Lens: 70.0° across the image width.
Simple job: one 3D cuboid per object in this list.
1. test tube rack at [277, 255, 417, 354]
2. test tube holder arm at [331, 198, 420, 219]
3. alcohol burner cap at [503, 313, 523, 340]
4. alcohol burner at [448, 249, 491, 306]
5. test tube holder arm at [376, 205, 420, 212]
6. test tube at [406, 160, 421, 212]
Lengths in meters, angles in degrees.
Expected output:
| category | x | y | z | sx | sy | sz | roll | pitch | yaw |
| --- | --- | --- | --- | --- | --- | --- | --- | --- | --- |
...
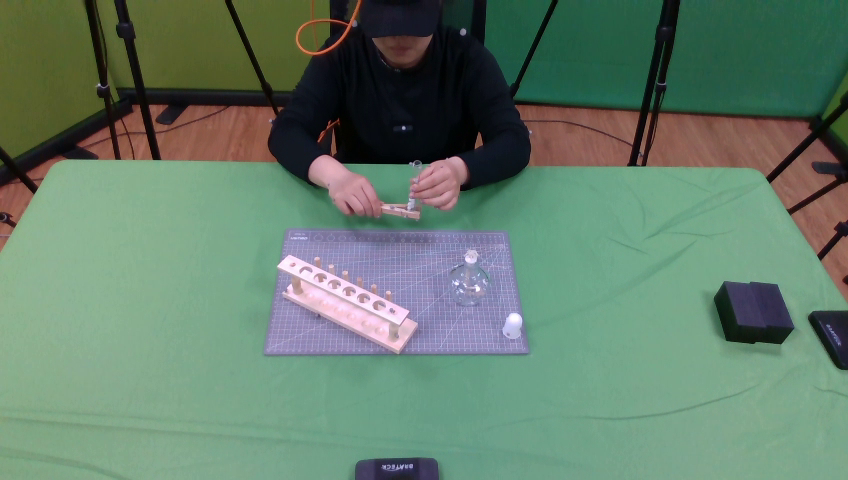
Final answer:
| category | x | y | z | sx | sy | sz | roll | pitch | yaw |
| --- | --- | --- | --- | --- | --- | --- | --- | --- | --- |
| test tube rack | -0.131 | 0.099 | 1.045 | 0.241 | 0.085 | 0.066 | 23 | 49 | 17 |
| test tube holder arm | -0.096 | -0.062 | 1.187 | 0.178 | 0.015 | 0.013 | 8 | 40 | 8 |
| alcohol burner cap | 0.156 | 0.148 | 1.051 | 0.034 | 0.048 | 0.033 | 1 | 45 | -1 |
| alcohol burner | 0.081 | 0.062 | 1.078 | 0.078 | 0.120 | 0.077 | 1 | 45 | -1 |
| test tube holder arm | -0.051 | -0.062 | 1.188 | 0.088 | 0.015 | 0.010 | 0 | 41 | -3 |
| test tube | -0.021 | -0.093 | 1.139 | 0.017 | 0.151 | 0.017 | 4 | 52 | -5 |
